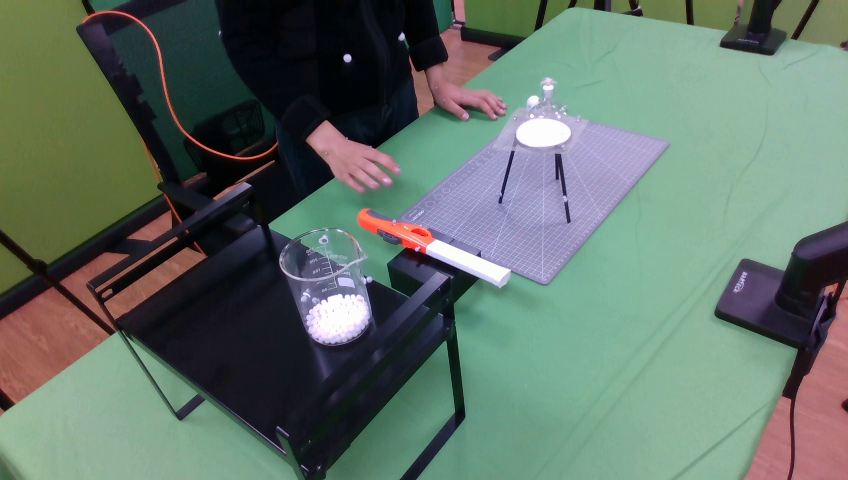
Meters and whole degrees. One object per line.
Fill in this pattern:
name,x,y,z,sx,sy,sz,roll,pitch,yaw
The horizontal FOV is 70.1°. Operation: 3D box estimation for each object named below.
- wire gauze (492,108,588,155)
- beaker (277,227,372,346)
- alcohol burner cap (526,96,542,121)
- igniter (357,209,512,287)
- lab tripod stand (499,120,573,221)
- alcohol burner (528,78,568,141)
wire gauze,0.185,-0.170,0.953,0.121,0.011,0.125,13,44,22
beaker,-0.090,0.048,0.593,0.084,0.101,0.073,-3,41,5
alcohol burner cap,0.225,-0.272,1.243,0.034,0.048,0.033,-5,41,5
igniter,0.004,0.006,0.891,0.274,0.025,0.057,23,38,30
lab tripod stand,0.198,-0.117,0.992,0.148,0.132,0.147,-3,40,3
alcohol burner,0.238,-0.253,1.163,0.078,0.119,0.077,-6,40,6
